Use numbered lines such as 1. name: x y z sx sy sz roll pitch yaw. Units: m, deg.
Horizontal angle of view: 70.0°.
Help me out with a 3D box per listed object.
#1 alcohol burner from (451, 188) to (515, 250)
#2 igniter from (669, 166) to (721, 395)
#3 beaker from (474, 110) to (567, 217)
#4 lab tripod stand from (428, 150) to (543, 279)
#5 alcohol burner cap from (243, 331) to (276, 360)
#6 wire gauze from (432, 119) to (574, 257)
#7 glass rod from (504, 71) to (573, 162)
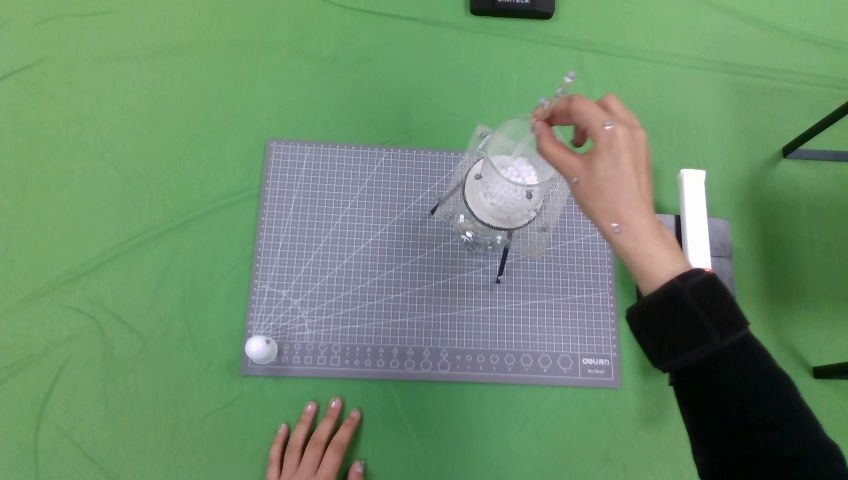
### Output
1. alcohol burner: 0.072 -0.029 0.714 0.078 0.119 0.077 1 75 -3
2. igniter: 0.316 0.042 0.713 0.057 0.025 0.275 4 73 0
3. beaker: 0.087 -0.070 0.597 0.084 0.101 0.073 3 72 -3
4. lab tripod stand: 0.081 -0.041 0.707 0.148 0.132 0.147 1 72 -4
5. alcohol burner cap: -0.189 0.118 0.688 0.034 0.048 0.033 2 74 -5
6. wire gauze: 0.087 -0.056 0.644 0.121 0.011 0.124 25 70 1
7. glass rod: 0.097 -0.104 0.542 0.008 0.200 0.008 1 79 -6
